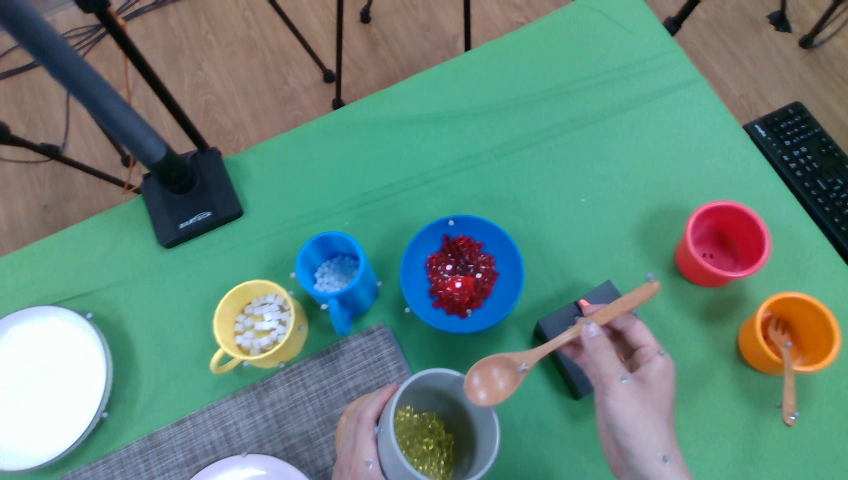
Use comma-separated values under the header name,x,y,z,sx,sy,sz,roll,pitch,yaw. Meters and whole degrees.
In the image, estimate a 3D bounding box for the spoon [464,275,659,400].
name,x,y,z,sx,sy,sz,roll,pitch,yaw
spoon,0.116,0.085,0.525,0.194,0.022,0.041,-35,74,22

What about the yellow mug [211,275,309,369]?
name,x,y,z,sx,sy,sz,roll,pitch,yaw
yellow mug,-0.213,0.112,0.759,0.099,0.064,0.130,41,79,17

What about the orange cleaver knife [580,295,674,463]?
name,x,y,z,sx,sy,sz,roll,pitch,yaw
orange cleaver knife,0.232,0.159,0.699,0.012,0.077,0.212,-28,100,-5

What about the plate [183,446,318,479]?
name,x,y,z,sx,sy,sz,roll,pitch,yaw
plate,-0.198,0.342,0.686,0.209,0.038,0.207,-1,70,4

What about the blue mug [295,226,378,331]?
name,x,y,z,sx,sy,sz,roll,pitch,yaw
blue mug,-0.105,0.055,0.750,0.082,0.106,0.115,-6,70,3

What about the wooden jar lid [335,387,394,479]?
name,x,y,z,sx,sy,sz,roll,pitch,yaw
wooden jar lid,-0.051,0.231,0.724,0.108,0.021,0.107,-1,71,4

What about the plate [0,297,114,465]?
name,x,y,z,sx,sy,sz,roll,pitch,yaw
plate,-0.492,0.177,0.772,0.207,0.039,0.206,-1,70,4

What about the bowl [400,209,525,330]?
name,x,y,z,sx,sy,sz,roll,pitch,yaw
bowl,0.049,0.045,0.756,0.151,0.077,0.150,-1,71,4

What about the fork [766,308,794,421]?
name,x,y,z,sx,sy,sz,roll,pitch,yaw
fork,0.391,0.130,0.661,0.028,0.019,0.207,37,33,8

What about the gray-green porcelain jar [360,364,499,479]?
name,x,y,z,sx,sy,sz,roll,pitch,yaw
gray-green porcelain jar,-0.001,0.191,0.585,0.106,0.127,0.105,11,56,-16
